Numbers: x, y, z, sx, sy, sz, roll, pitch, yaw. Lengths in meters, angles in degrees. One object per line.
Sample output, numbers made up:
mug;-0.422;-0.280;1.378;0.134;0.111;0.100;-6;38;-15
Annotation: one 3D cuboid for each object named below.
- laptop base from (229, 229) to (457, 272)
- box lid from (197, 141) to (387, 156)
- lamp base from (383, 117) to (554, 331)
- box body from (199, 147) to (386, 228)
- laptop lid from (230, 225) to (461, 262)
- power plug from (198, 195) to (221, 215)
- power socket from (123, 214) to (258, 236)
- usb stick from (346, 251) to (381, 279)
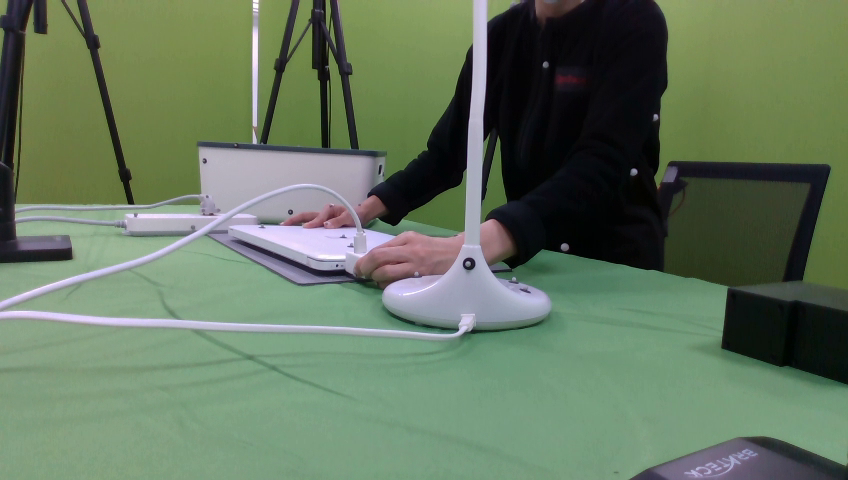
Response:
laptop base;-0.122;0.012;0.889;0.237;0.023;0.352;2;6;-35
box lid;-0.275;-0.198;1.325;0.372;0.015;0.263;3;8;1
lamp base;0.045;-0.019;0.547;0.161;0.180;0.179;2;10;-4
box body;-0.276;-0.123;1.334;0.364;0.160;0.254;3;7;1
laptop lid;-0.119;0.001;0.888;0.243;0.013;0.355;1;7;-33
power plug;-0.386;-0.055;1.089;0.035;0.052;0.072;-1;6;-22
power socket;-0.398;-0.028;1.049;0.228;0.032;0.072;-3;8;-34
usb stick;-0.072;0.028;0.686;0.021;0.027;0.059;-4;6;-36
